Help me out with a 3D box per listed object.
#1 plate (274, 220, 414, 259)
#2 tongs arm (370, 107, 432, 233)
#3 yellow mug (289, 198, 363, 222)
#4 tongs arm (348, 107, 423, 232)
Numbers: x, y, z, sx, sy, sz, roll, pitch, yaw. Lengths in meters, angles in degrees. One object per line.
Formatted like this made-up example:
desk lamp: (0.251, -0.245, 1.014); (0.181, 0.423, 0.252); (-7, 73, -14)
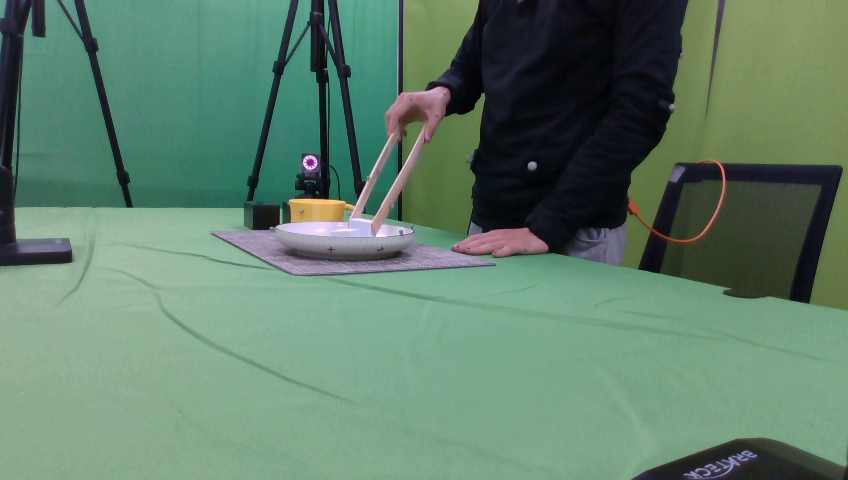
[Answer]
plate: (-0.118, -0.001, 0.902); (0.208, 0.039, 0.207); (2, 7, 0)
tongs arm: (-0.034, -0.134, 1.043); (0.028, 0.028, 0.387); (0, 37, 17)
yellow mug: (-0.174, -0.039, 1.071); (0.131, 0.064, 0.100); (3, 6, 0)
tongs arm: (-0.058, -0.136, 1.049); (0.050, 0.026, 0.384); (1, 37, 12)
